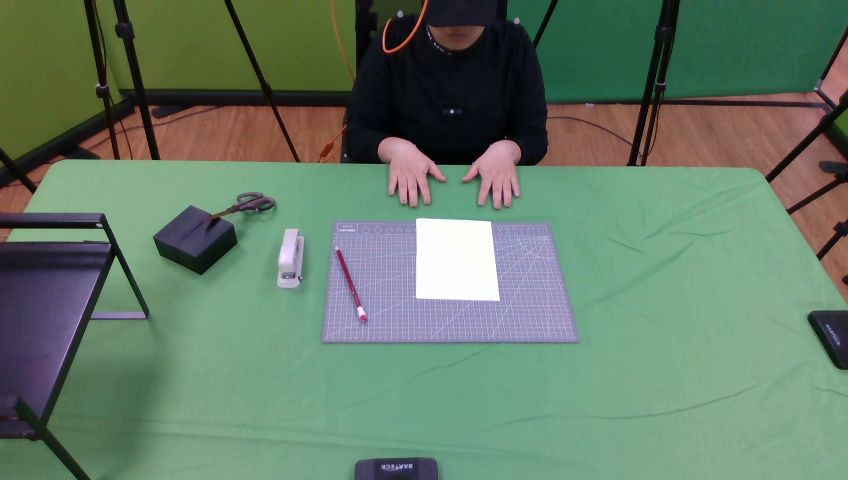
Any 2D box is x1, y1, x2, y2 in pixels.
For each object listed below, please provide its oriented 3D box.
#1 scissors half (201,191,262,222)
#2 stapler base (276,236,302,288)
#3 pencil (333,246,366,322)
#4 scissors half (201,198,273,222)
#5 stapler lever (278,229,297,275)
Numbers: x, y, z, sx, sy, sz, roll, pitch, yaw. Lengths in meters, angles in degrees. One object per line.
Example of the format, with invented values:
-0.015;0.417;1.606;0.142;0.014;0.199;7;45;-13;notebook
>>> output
-0.381;-0.066;1.198;0.040;0.013;0.175;25;28;9;scissors half
-0.255;0.034;1.144;0.041;0.024;0.129;1;44;-8;stapler base
-0.141;0.076;1.117;0.012;0.012;0.192;-14;48;-17;pencil
-0.365;-0.055;1.192;0.040;0.013;0.175;39;32;22;scissors half
-0.254;0.016;1.128;0.027;0.040;0.117;1;45;-7;stapler lever
